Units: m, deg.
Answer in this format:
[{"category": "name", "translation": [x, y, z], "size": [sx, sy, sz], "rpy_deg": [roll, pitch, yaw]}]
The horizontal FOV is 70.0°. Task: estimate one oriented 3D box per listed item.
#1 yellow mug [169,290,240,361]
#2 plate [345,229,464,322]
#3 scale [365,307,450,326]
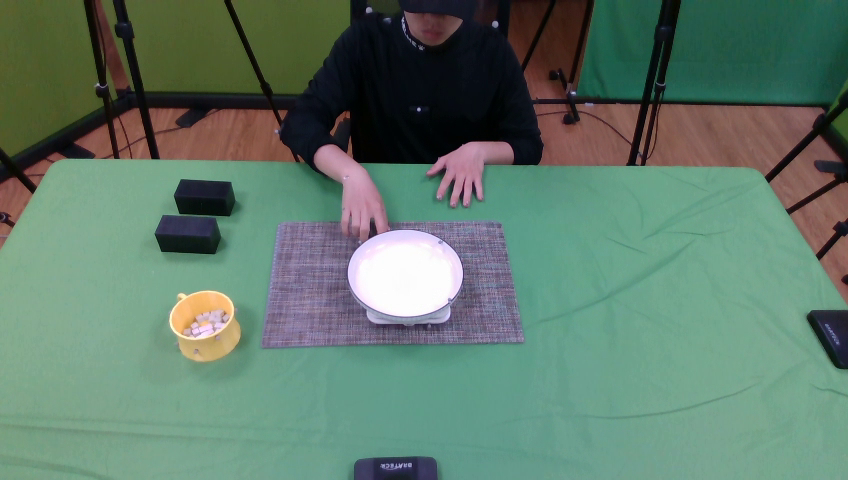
[{"category": "yellow mug", "translation": [-0.373, 0.132, 1.009], "size": [0.130, 0.064, 0.100], "rpy_deg": [35, 53, 27]}, {"category": "plate", "translation": [-0.034, 0.065, 1.073], "size": [0.209, 0.038, 0.208], "rpy_deg": [2, 46, -2]}, {"category": "scale", "translation": [-0.032, 0.071, 1.114], "size": [0.149, 0.032, 0.199], "rpy_deg": [1, 46, -4]}]
